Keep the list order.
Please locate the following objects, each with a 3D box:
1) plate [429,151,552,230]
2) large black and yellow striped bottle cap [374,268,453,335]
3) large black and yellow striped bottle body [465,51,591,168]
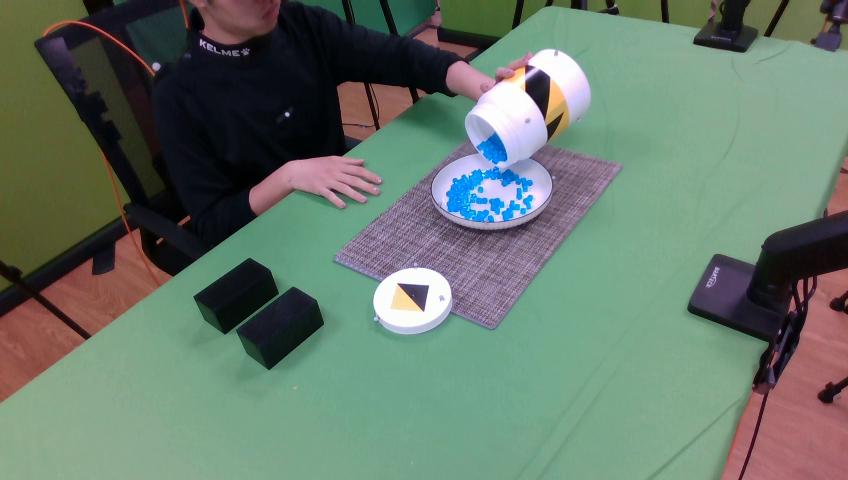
[{"bbox_3d":[0.113,-0.082,1.032,0.207,0.039,0.206,-4,41,4],"label":"plate"},{"bbox_3d":[-0.015,0.087,0.871,0.115,0.019,0.114,-6,43,6],"label":"large black and yellow striped bottle cap"},{"bbox_3d":[0.172,-0.217,1.016,0.184,0.131,0.129,-38,48,-15],"label":"large black and yellow striped bottle body"}]
